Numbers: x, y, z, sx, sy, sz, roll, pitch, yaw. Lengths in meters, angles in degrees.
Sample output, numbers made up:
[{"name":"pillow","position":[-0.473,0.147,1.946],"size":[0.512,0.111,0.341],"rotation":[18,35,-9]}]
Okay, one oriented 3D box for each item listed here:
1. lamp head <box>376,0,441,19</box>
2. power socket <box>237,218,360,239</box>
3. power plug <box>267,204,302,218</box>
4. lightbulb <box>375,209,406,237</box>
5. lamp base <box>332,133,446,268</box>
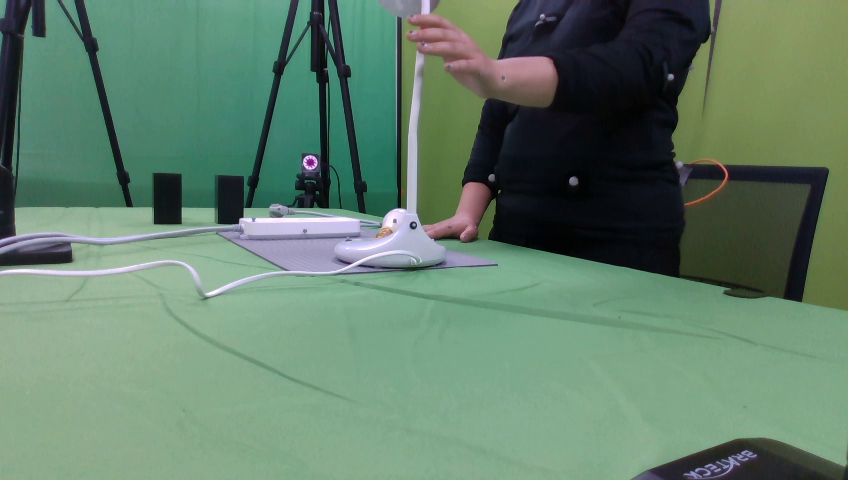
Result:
[{"name":"lamp head","position":[-0.012,-0.373,0.822],"size":[0.113,0.112,0.122],"rotation":[1,0,-14]},{"name":"power socket","position":[-0.221,-0.023,1.080],"size":[0.228,0.032,0.072],"rotation":[-2,7,-32]},{"name":"power plug","position":[-0.327,-0.060,1.404],"size":[0.073,0.035,0.052],"rotation":[22,-15,-25]},{"name":"lightbulb","position":[-0.052,-0.016,1.023],"size":[0.059,0.059,0.108],"rotation":[6,23,21]},{"name":"lamp base","position":[-0.038,-0.058,0.834],"size":[0.161,0.180,0.178],"rotation":[-2,11,-32]}]
